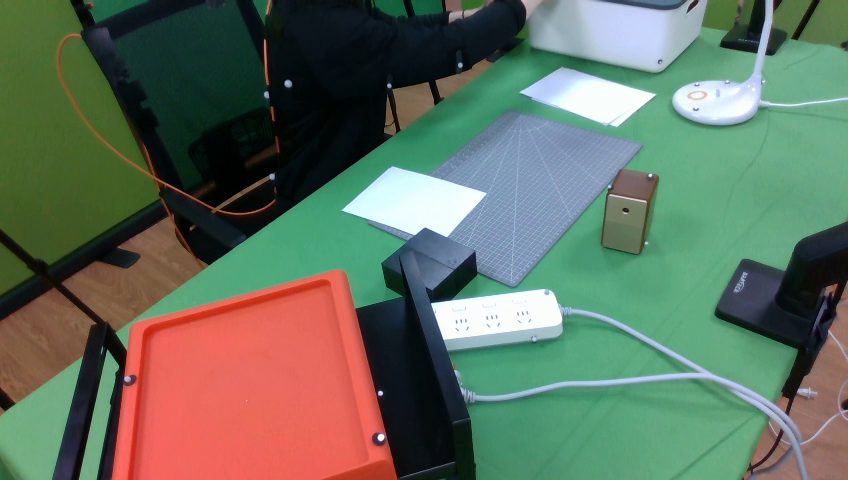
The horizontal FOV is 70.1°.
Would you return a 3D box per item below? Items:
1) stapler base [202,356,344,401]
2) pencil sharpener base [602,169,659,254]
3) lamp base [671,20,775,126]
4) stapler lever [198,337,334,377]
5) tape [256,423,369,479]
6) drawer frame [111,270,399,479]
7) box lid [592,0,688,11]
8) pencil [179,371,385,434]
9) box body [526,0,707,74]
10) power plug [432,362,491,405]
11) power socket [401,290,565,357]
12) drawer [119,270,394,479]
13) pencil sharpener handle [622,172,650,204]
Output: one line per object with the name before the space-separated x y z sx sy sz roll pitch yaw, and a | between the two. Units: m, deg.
stapler base | -0.141 0.123 0.557 0.130 0.024 0.041 -2 44 3
pencil sharpener base | 0.312 -0.044 0.913 0.061 0.107 0.077 14 45 24
lamp base | 0.582 -0.332 1.153 0.179 0.181 0.160 2 41 7
stapler lever | -0.142 0.105 0.541 0.118 0.040 0.026 -3 44 4
tape | -0.121 0.262 0.659 0.117 0.053 0.116 -4 40 4
drawer frame | -0.140 0.140 0.506 0.202 0.083 0.212 -15 41 -9
box lid | 0.441 -0.596 1.383 0.368 0.015 0.264 24 49 31
pencil | -0.128 0.141 0.534 0.194 0.012 0.012 14 44 7
box body | 0.450 -0.540 1.430 0.361 0.161 0.255 24 50 31
power plug | 0.044 0.182 0.759 0.073 0.035 0.052 23 42 -19
power socket | 0.080 0.113 0.821 0.227 0.033 0.072 -6 41 0
drawer | -0.141 0.139 0.509 0.195 0.073 0.210 -14 42 -8
pencil sharpener handle | 0.328 -0.086 0.940 0.036 0.068 0.030 30 49 8
